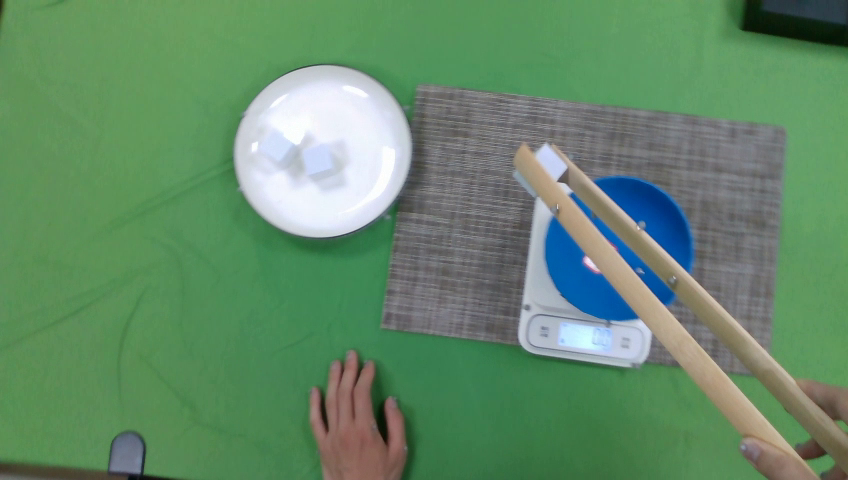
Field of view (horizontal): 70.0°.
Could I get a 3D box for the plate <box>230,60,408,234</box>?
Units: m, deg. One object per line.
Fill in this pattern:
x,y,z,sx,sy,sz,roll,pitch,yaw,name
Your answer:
-0.122,-0.107,0.718,0.208,0.039,0.207,0,84,1,plate

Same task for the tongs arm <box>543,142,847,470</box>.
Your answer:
0.210,0.053,0.487,0.051,0.027,0.381,-22,59,-32,tongs arm

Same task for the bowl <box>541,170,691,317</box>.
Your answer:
0.194,0.008,0.647,0.151,0.077,0.151,0,84,0,bowl

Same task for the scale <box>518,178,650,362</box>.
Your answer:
0.192,0.033,0.697,0.148,0.031,0.200,7,84,2,scale

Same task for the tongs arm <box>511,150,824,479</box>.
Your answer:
0.188,0.060,0.474,0.028,0.028,0.383,-17,57,-33,tongs arm
